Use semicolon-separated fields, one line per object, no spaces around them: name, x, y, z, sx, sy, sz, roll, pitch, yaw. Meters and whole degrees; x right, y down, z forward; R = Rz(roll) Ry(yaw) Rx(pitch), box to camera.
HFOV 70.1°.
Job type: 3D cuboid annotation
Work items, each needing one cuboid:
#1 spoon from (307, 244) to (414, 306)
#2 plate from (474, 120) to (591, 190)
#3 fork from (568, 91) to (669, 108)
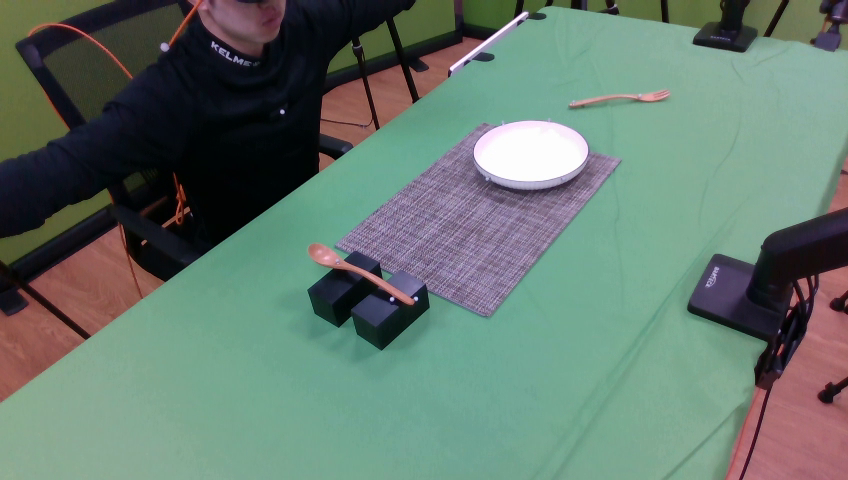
spoon;-0.091;0.048;0.848;0.192;0.021;0.042;22;26;30
plate;0.196;-0.151;1.099;0.207;0.039;0.206;-4;40;4
fork;0.402;-0.290;1.252;0.207;0.019;0.028;-4;47;1
